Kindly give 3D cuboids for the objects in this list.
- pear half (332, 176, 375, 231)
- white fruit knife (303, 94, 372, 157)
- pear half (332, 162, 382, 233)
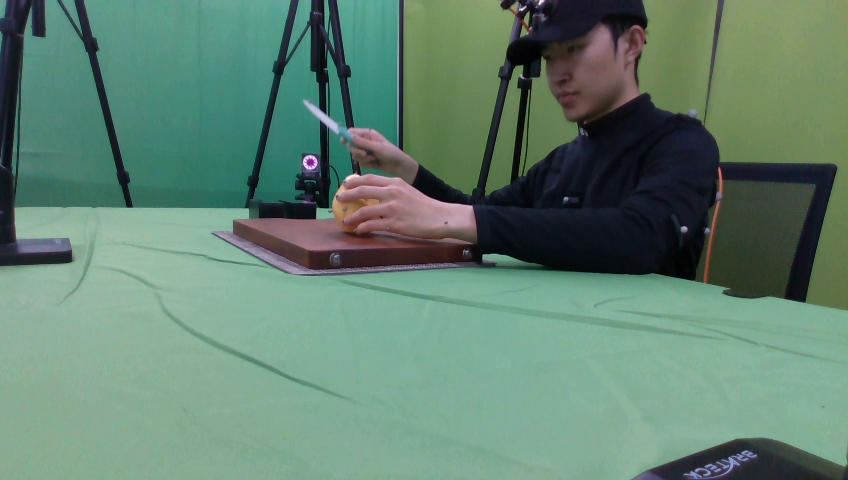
[{"bbox_3d":[-0.116,-0.059,0.954,0.071,0.088,0.031,-14,16,-30],"label":"pear half"},{"bbox_3d":[-0.179,-0.242,1.273,0.016,0.027,0.208,-20,-39,31],"label":"white fruit knife"},{"bbox_3d":[-0.099,-0.064,0.921,0.077,0.110,0.055,-12,14,-30],"label":"pear half"}]
